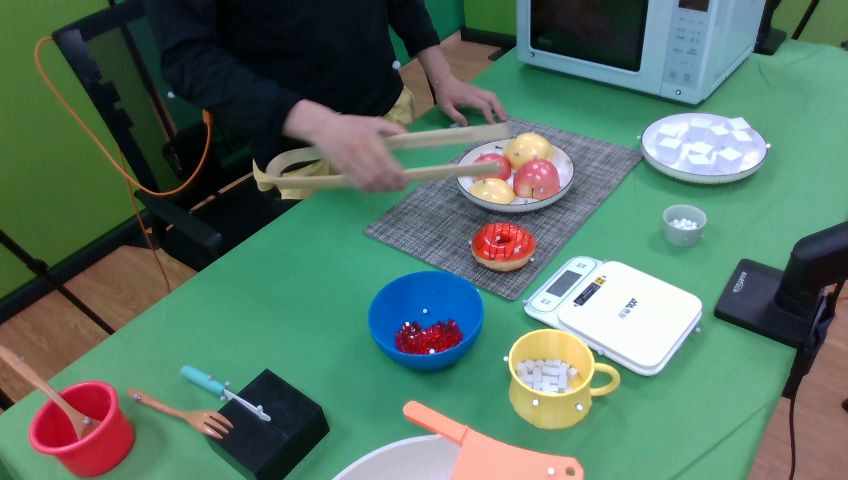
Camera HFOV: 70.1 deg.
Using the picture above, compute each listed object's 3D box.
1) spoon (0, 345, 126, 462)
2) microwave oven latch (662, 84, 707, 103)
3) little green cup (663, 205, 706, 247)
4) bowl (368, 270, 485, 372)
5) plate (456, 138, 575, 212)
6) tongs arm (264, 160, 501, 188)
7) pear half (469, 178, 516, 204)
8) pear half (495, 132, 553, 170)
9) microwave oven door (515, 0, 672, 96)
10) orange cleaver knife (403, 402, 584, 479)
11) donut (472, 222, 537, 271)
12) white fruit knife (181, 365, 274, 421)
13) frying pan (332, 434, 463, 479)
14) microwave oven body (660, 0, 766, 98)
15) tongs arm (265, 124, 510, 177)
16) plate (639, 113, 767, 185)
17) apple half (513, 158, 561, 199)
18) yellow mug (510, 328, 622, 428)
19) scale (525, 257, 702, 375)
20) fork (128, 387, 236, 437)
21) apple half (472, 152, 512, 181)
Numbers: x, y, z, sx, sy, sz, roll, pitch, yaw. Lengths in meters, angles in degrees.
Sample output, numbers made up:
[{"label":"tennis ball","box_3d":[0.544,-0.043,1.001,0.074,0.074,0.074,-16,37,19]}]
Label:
[{"label":"spoon","box_3d":[-0.434,0.192,0.720,0.194,0.021,0.042,47,53,-7]},{"label":"microwave oven latch","box_3d":[0.517,-0.296,1.204,0.078,0.029,0.030,27,52,35]},{"label":"little green cup","box_3d":[0.396,-0.020,0.926,0.061,0.039,0.061,-4,40,4]},{"label":"bowl","box_3d":[0.007,0.118,0.791,0.151,0.077,0.150,-5,39,4]},{"label":"plate","box_3d":[0.159,-0.111,1.063,0.209,0.038,0.208,-4,40,4]},{"label":"tongs arm","box_3d":[-0.076,-0.094,0.852,0.385,0.028,0.028,0,57,27]},{"label":"pear half","box_3d":[0.115,-0.090,1.035,0.087,0.031,0.071,28,38,31]},{"label":"pear half","box_3d":[0.175,-0.168,1.094,0.109,0.056,0.076,16,54,30]},{"label":"microwave oven door","box_3d":[0.343,-0.454,1.259,0.353,0.245,0.039,26,51,33]},{"label":"orange cleaver knife","box_3d":[0.062,0.222,0.609,0.210,0.012,0.077,15,48,25]},{"label":"donut","box_3d":[0.123,0.009,0.923,0.099,0.048,0.098,-4,37,3]},{"label":"white fruit knife","box_3d":[-0.245,0.187,0.747,0.205,0.027,0.016,9,42,41]},{"label":"frying pan","box_3d":[-0.089,0.306,0.564,0.487,0.103,0.306,10,41,7]},{"label":"microwave oven body","box_3d":[0.472,-0.513,1.317,0.438,0.261,0.327,26,51,34]},{"label":"tongs arm","box_3d":[-0.066,-0.126,0.875,0.382,0.027,0.050,-1,53,26]},{"label":"plate","box_3d":[0.489,-0.157,1.074,0.207,0.039,0.206,-4,40,4]},{"label":"apple half","box_3d":[0.194,-0.111,1.031,0.080,0.053,0.075,11,41,26]},{"label":"yellow mug","box_3d":[0.168,0.164,0.721,0.130,0.064,0.099,0,40,8]},{"label":"scale","box_3d":[0.254,0.091,0.821,0.199,0.032,0.149,28,51,35]},{"label":"fork","box_3d":[-0.305,0.208,0.744,0.206,0.019,0.028,3,41,36]},{"label":"apple half","box_3d":[0.120,-0.139,1.088,0.081,0.033,0.081,0,44,0]}]
